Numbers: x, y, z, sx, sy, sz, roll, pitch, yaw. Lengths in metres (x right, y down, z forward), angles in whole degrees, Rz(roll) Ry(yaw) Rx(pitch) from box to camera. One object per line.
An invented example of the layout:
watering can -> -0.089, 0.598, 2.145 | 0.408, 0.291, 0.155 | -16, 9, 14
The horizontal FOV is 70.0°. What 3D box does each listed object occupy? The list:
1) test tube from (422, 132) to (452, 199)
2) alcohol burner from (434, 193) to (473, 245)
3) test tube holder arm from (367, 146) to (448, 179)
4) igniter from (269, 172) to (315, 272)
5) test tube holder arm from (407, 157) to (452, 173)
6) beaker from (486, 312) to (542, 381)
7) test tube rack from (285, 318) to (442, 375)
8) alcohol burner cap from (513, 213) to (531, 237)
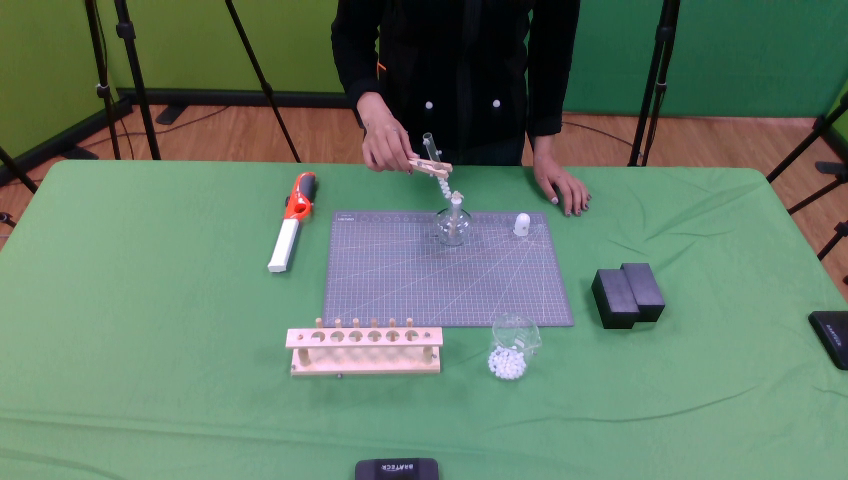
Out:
test tube -> 0.023, -0.123, 1.028 | 0.017, 0.151, 0.017 | -10, 49, 12
alcohol burner -> 0.059, -0.047, 1.180 | 0.078, 0.120, 0.077 | 1, 48, -1
test tube holder arm -> -0.032, -0.138, 1.063 | 0.177, 0.015, 0.013 | 20, 59, 31
igniter -> -0.263, -0.045, 1.219 | 0.057, 0.025, 0.275 | -2, 45, 8
test tube holder arm -> 0.008, -0.130, 1.043 | 0.087, 0.015, 0.010 | 13, 55, 27
beaker -> 0.144, 0.177, 0.985 | 0.084, 0.101, 0.074 | 22, 49, 16
test tube rack -> -0.095, 0.167, 0.986 | 0.242, 0.085, 0.066 | 0, 46, -4
alcohol burner cap -> 0.200, -0.034, 1.227 | 0.034, 0.048, 0.033 | 1, 46, -1
